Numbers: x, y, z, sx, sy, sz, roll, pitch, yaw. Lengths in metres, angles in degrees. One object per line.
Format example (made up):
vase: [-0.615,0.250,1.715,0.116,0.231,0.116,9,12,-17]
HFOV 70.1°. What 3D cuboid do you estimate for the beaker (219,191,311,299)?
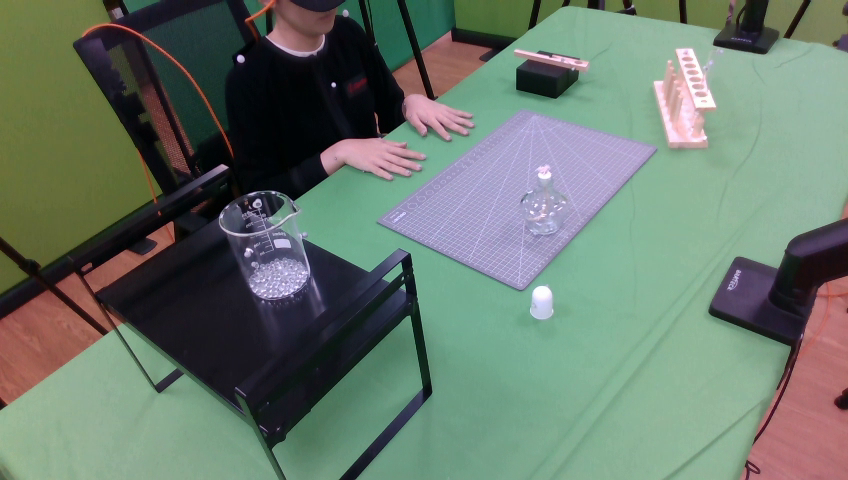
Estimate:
beaker: [-0.164,0.008,0.654,0.084,0.101,0.073,-10,41,-3]

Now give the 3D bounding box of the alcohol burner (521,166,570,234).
alcohol burner: [0.192,-0.068,0.951,0.078,0.119,0.077,-4,42,4]

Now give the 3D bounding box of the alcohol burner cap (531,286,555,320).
alcohol burner cap: [0.164,0.084,0.838,0.034,0.048,0.033,-4,40,4]

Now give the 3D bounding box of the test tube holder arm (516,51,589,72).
test tube holder arm: [0.277,-0.391,1.318,0.177,0.015,0.013,22,57,32]

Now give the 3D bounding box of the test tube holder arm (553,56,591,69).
test tube holder arm: [0.315,-0.380,1.297,0.087,0.015,0.010,22,57,32]

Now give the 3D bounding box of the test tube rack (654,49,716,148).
test tube rack: [0.502,-0.281,1.176,0.066,0.085,0.241,2,41,11]

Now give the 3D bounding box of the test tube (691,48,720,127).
test tube: [0.505,-0.270,1.088,0.017,0.151,0.017,-1,40,2]
